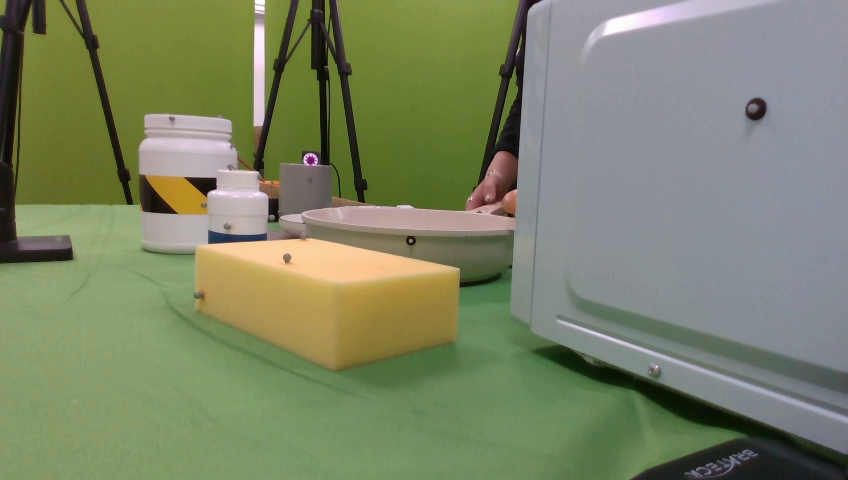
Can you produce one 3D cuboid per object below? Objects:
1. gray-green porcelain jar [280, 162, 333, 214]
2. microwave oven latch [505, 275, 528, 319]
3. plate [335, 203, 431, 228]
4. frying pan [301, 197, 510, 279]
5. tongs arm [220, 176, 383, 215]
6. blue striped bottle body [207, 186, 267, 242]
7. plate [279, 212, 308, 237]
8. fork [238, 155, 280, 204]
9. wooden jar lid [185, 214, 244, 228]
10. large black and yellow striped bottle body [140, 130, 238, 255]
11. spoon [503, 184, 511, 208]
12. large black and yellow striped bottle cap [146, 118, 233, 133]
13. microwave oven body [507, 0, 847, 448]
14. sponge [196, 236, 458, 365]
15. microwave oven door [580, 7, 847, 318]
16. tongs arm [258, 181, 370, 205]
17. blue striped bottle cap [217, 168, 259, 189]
[{"bbox_3d":[-0.238,-0.092,1.221,0.106,0.126,0.106,2,7,0],"label":"gray-green porcelain jar"},{"bbox_3d":[0.100,0.042,0.472,0.079,0.029,0.030,-2,8,-30],"label":"microwave oven latch"},{"bbox_3d":[-0.089,-0.053,1.309,0.208,0.039,0.207,2,8,0],"label":"plate"},{"bbox_3d":[0.050,-0.028,0.864,0.305,0.102,0.490,8,18,35],"label":"frying pan"},{"bbox_3d":[-0.285,-0.103,1.445,0.389,0.027,0.028,9,-4,-23],"label":"tongs arm"},{"bbox_3d":[-0.204,-0.016,0.663,0.063,0.120,0.063,2,7,0],"label":"blue striped bottle body"},{"bbox_3d":[-0.139,-0.022,1.021,0.209,0.038,0.209,2,8,0],"label":"plate"},{"bbox_3d":[-0.396,-0.143,1.486,0.028,0.018,0.208,20,-26,45],"label":"fork"},{"bbox_3d":[-0.404,-0.037,1.169,0.108,0.020,0.108,3,7,0],"label":"wooden jar lid"},{"bbox_3d":[-0.336,-0.078,0.871,0.131,0.184,0.130,2,8,0],"label":"large black and yellow striped bottle body"},{"bbox_3d":[0.201,-0.054,0.796,0.193,0.041,0.022,4,-5,19],"label":"spoon"},{"bbox_3d":[-0.333,-0.163,0.861,0.115,0.019,0.115,1,9,0],"label":"large black and yellow striped bottle cap"},{"bbox_3d":[0.331,-0.042,0.425,0.444,0.260,0.324,-2,8,-31],"label":"microwave oven body"},{"bbox_3d":[-0.087,0.039,0.500,0.206,0.061,0.119,8,9,44],"label":"sponge"},{"bbox_3d":[0.295,-0.067,0.570,0.358,0.243,0.039,-3,9,-31],"label":"microwave oven door"},{"bbox_3d":[-0.241,-0.095,1.373,0.387,0.026,0.050,9,0,-37],"label":"tongs arm"},{"bbox_3d":[-0.202,-0.067,0.656,0.044,0.020,0.044,0,10,0],"label":"blue striped bottle cap"}]
